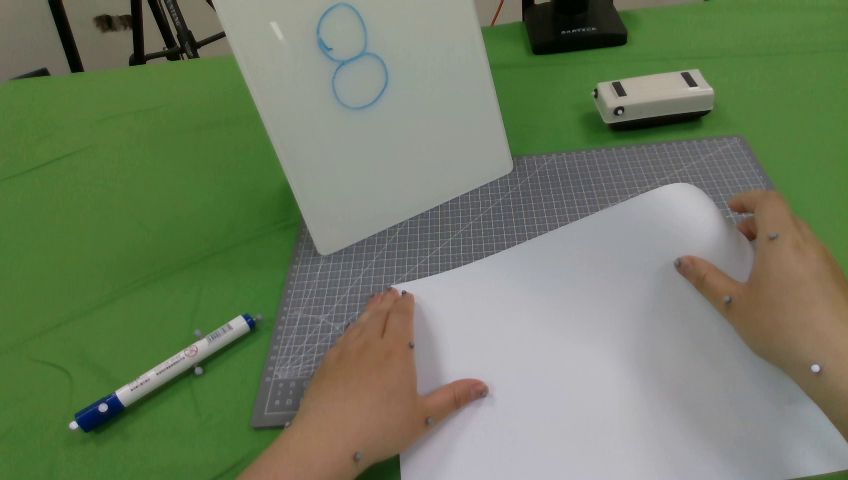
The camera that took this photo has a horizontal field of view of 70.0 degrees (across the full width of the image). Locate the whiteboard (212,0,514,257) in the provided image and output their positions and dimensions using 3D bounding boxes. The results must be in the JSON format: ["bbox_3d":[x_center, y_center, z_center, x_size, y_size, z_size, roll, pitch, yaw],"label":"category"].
[{"bbox_3d":[-0.070,-0.180,0.581,0.217,0.308,0.142,-25,26,-14],"label":"whiteboard"}]

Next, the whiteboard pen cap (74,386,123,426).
[{"bbox_3d":[-0.245,0.124,0.459,0.033,0.018,0.018,-34,49,-24],"label":"whiteboard pen cap"}]

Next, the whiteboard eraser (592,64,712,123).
[{"bbox_3d":[0.241,-0.154,0.646,0.112,0.042,0.055,-7,47,2],"label":"whiteboard eraser"}]

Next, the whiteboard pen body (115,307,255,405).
[{"bbox_3d":[-0.199,0.097,0.482,0.141,0.017,0.017,-33,49,-24],"label":"whiteboard pen body"}]
